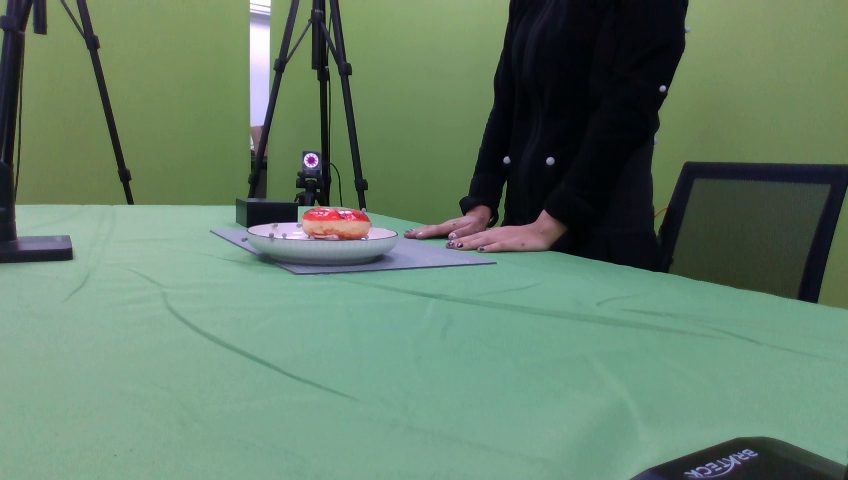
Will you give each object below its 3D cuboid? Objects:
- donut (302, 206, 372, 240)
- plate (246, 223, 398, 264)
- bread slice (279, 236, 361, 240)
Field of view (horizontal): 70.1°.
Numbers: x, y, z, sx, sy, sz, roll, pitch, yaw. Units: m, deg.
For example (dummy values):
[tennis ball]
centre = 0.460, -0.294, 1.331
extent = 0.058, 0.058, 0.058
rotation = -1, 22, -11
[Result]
[donut]
centre = -0.123, -0.023, 0.853
extent = 0.099, 0.048, 0.099
rotation = 3, 3, 0
[plate]
centre = -0.140, 0.004, 0.847
extent = 0.209, 0.038, 0.209
rotation = 2, 7, 0
[bread slice]
centre = -0.139, 0.007, 0.839
extent = 0.132, 0.019, 0.104
rotation = -2, 8, -35
